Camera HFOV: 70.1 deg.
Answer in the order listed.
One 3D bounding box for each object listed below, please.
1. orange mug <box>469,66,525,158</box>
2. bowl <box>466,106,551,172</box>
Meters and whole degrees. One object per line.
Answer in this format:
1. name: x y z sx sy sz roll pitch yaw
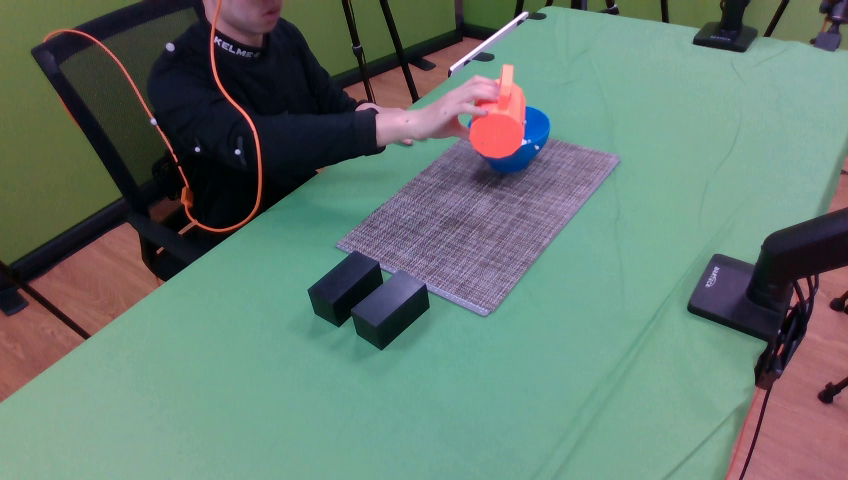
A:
1. orange mug: 0.121 -0.208 0.964 0.083 0.126 0.100 9 42 1
2. bowl: 0.155 -0.178 1.105 0.151 0.077 0.150 -3 40 3
